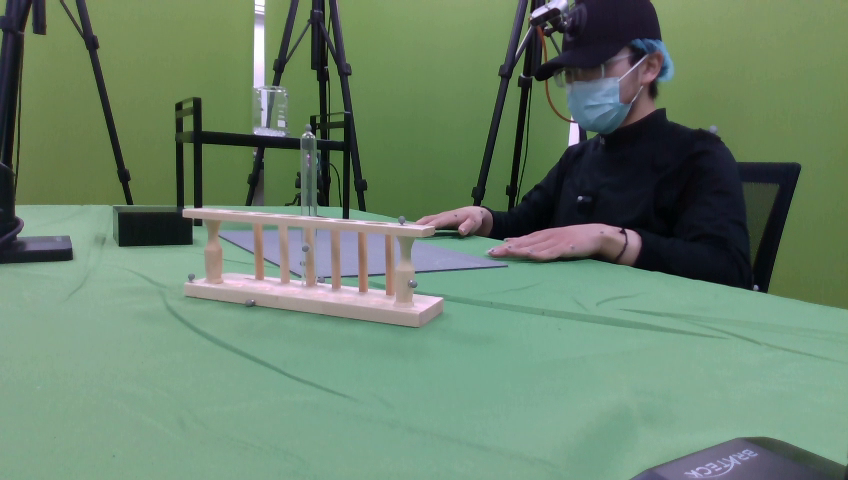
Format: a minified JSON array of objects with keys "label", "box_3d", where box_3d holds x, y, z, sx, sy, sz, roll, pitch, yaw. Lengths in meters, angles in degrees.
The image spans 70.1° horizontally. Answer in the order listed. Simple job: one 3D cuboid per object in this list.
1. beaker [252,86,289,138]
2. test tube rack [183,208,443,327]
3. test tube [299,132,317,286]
[{"label":"beaker","box_3d":[-0.319,-0.263,1.250,0.074,0.100,0.084,5,8,21]},{"label":"test tube rack","box_3d":[-0.106,0.019,0.570,0.241,0.085,0.067,5,8,19]},{"label":"test tube","box_3d":[-0.113,-0.029,0.588,0.017,0.150,0.017,1,7,0]}]
